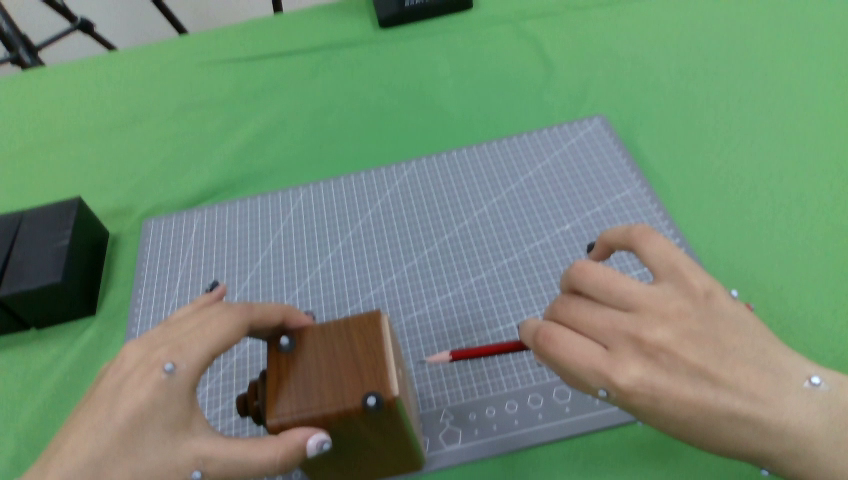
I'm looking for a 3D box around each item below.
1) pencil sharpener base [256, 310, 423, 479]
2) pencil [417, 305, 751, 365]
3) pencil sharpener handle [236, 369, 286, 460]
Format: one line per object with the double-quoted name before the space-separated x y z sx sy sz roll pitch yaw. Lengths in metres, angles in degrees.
"pencil sharpener base" -0.048 0.101 0.365 0.077 0.108 0.060 -13 50 0
"pencil" 0.092 0.056 0.346 0.194 0.012 0.012 -8 49 -2
"pencil sharpener handle" -0.099 0.106 0.353 0.030 0.068 0.035 -13 39 0
